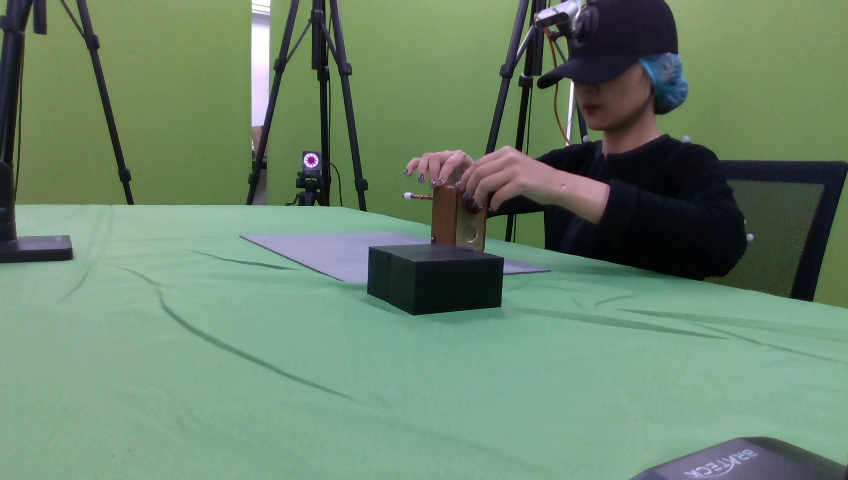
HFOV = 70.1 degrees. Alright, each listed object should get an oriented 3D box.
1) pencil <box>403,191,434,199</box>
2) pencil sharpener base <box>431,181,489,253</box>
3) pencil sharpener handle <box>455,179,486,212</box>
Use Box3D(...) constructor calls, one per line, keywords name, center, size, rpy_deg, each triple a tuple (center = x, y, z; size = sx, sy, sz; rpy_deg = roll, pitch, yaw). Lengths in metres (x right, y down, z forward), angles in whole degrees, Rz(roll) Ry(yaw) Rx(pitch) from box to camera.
Box3D(name="pencil", center=(0.016, -0.072, 1.010), size=(0.012, 0.012, 0.193), rpy_deg=(-2, 8, -31))
Box3D(name="pencil sharpener base", center=(0.057, -0.036, 0.943), size=(0.062, 0.107, 0.076), rpy_deg=(-2, 9, -31))
Box3D(name="pencil sharpener handle", center=(0.074, -0.066, 0.889), size=(0.068, 0.036, 0.030), rpy_deg=(38, -13, -30))
